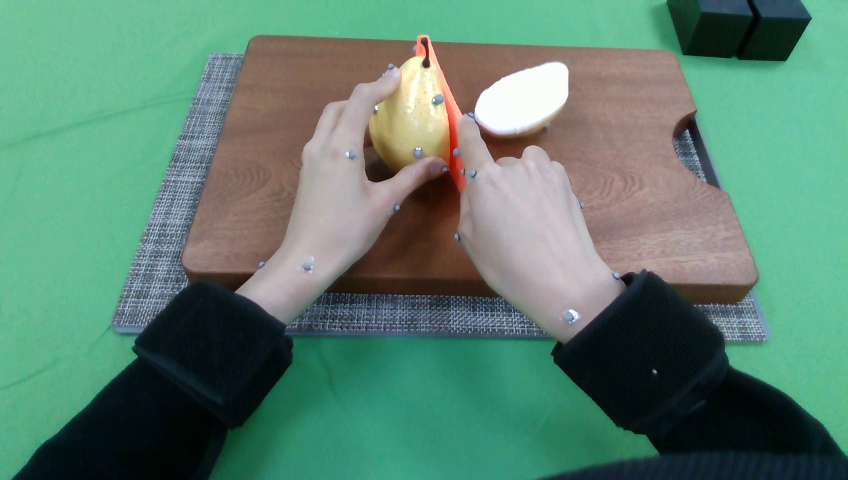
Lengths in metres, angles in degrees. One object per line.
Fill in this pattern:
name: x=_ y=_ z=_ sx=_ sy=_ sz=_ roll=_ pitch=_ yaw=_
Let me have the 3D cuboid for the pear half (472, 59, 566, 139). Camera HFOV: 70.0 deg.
pear half: x=0.082 y=-0.110 z=0.494 sx=0.088 sy=0.031 sz=0.070 roll=-42 pitch=62 yaw=-15

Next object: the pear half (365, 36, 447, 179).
pear half: x=-0.014 y=-0.095 z=0.432 sx=0.056 sy=0.111 sz=0.075 roll=-15 pitch=50 yaw=-14

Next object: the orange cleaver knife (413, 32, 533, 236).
orange cleaver knife: x=0.025 y=-0.070 z=0.435 sx=0.012 sy=0.078 sz=0.209 roll=-14 pitch=52 yaw=-14
